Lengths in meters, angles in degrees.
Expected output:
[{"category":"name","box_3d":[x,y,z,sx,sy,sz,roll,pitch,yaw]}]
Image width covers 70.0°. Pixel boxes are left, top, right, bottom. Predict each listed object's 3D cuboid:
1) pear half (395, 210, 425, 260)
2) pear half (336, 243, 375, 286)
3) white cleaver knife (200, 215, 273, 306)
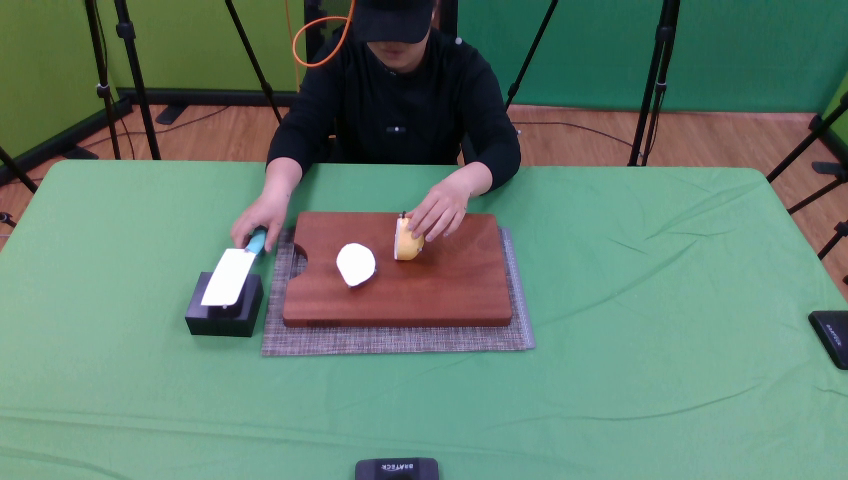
[{"category":"pear half","box_3d":[-0.026,-0.013,1.109,0.056,0.110,0.076,-4,50,-7]},{"category":"pear half","box_3d":[-0.127,0.050,1.094,0.070,0.031,0.087,17,58,-8]},{"category":"white cleaver knife","box_3d":[-0.335,0.029,1.101,0.066,0.021,0.285,6,32,-2]}]
